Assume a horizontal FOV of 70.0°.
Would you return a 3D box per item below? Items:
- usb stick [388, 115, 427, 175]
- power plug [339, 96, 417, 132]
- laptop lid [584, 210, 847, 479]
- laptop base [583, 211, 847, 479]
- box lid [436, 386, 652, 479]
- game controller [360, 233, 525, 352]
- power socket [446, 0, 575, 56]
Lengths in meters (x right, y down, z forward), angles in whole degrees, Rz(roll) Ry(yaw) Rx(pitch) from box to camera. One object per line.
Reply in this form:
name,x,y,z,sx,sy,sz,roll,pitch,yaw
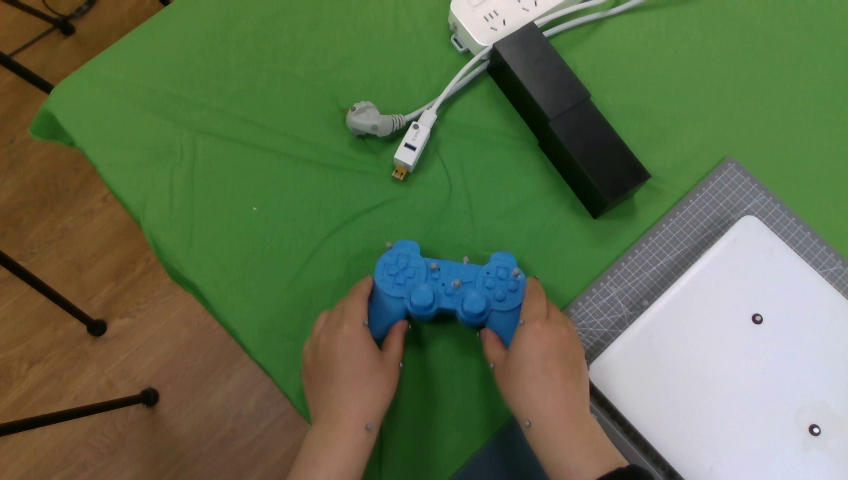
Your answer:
usb stick,-0.019,-0.095,0.616,0.021,0.027,0.059,26,83,-2
power plug,-0.051,-0.132,0.633,0.073,0.035,0.052,-10,43,-41
laptop lid,0.346,0.167,0.545,0.241,0.013,0.355,-40,79,-8
laptop base,0.348,0.168,0.556,0.235,0.023,0.353,-42,80,-7
box lid,0.142,0.336,0.514,0.263,0.015,0.370,-41,79,-10
game controller,0.021,0.047,0.571,0.155,0.052,0.096,8,72,1
power socket,0.124,-0.282,0.667,0.227,0.033,0.072,-33,78,-10
